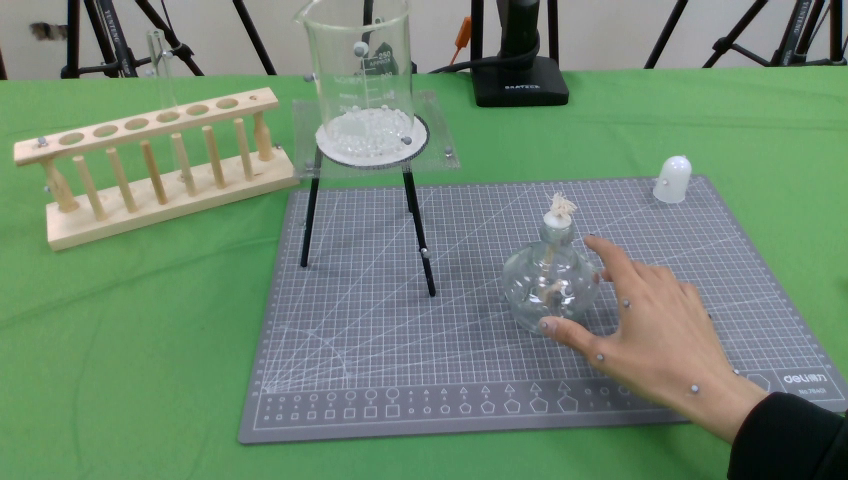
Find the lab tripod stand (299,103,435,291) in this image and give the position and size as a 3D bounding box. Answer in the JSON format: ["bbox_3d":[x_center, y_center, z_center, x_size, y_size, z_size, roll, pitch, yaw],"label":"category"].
[{"bbox_3d":[-0.043,-0.037,0.521,0.148,0.133,0.147,-1,43,1],"label":"lab tripod stand"}]

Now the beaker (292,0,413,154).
[{"bbox_3d":[-0.048,-0.121,0.442,0.084,0.101,0.073,-1,41,1],"label":"beaker"}]

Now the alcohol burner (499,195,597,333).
[{"bbox_3d":[0.099,0.016,0.475,0.078,0.120,0.077,-1,39,1],"label":"alcohol burner"}]

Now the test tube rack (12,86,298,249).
[{"bbox_3d":[-0.259,-0.077,0.609,0.243,0.086,0.066,-18,44,-20],"label":"test tube rack"}]

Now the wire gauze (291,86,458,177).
[{"bbox_3d":[-0.044,-0.086,0.477,0.125,0.011,0.120,-8,40,-4],"label":"wire gauze"}]

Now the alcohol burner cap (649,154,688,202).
[{"bbox_3d":[0.252,-0.067,0.622,0.034,0.048,0.033,0,41,0],"label":"alcohol burner cap"}]

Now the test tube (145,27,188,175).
[{"bbox_3d":[-0.250,-0.131,0.594,0.017,0.151,0.017,3,35,-2],"label":"test tube"}]
